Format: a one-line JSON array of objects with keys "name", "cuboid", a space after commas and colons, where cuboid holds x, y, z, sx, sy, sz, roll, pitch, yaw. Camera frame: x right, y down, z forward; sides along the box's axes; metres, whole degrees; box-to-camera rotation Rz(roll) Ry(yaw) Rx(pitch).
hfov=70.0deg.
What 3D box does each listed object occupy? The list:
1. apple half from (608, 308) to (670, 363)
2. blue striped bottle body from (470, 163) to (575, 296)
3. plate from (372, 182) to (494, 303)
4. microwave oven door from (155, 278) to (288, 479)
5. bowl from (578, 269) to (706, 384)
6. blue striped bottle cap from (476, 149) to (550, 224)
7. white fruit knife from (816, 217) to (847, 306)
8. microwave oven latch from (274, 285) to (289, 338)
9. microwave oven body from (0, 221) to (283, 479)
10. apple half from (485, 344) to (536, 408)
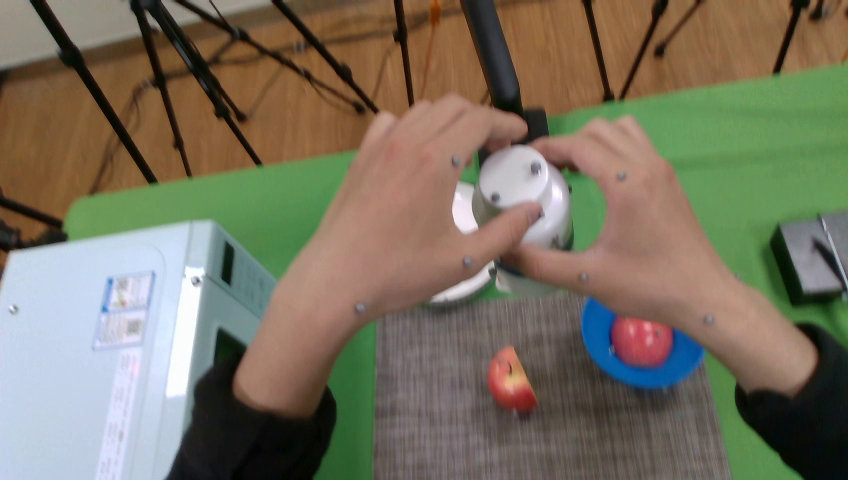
[{"name": "apple half", "cuboid": [0.279, 0.119, 0.782, 0.081, 0.033, 0.080, -7, 59, 12]}, {"name": "blue striped bottle body", "cuboid": [0.069, -0.011, 0.415, 0.063, 0.122, 0.062, -7, 63, 14]}, {"name": "plate", "cuboid": [0.024, 0.006, 0.945, 0.207, 0.039, 0.206, -6, 61, 11]}, {"name": "microwave oven door", "cuboid": [-0.239, 0.253, 0.739, 0.039, 0.246, 0.352, -9, 60, 10]}, {"name": "bowl", "cuboid": [0.278, 0.121, 0.787, 0.151, 0.077, 0.150, -7, 61, 12]}, {"name": "blue striped bottle cap", "cuboid": [0.054, -0.033, 0.371, 0.044, 0.021, 0.044, -6, 62, 13]}, {"name": "white fruit knife", "cuboid": [0.526, 0.068, 0.750, 0.016, 0.027, 0.206, -21, 75, 23]}, {"name": "microwave oven latch", "cuboid": [-0.224, 0.112, 0.931, 0.030, 0.030, 0.078, -8, 61, 10]}, {"name": "microwave oven body", "cuboid": [-0.383, 0.242, 0.788, 0.325, 0.263, 0.437, -9, 61, 9]}, {"name": "apple half", "cuboid": [0.109, 0.186, 0.800, 0.053, 0.075, 0.080, -26, 63, 4]}]
